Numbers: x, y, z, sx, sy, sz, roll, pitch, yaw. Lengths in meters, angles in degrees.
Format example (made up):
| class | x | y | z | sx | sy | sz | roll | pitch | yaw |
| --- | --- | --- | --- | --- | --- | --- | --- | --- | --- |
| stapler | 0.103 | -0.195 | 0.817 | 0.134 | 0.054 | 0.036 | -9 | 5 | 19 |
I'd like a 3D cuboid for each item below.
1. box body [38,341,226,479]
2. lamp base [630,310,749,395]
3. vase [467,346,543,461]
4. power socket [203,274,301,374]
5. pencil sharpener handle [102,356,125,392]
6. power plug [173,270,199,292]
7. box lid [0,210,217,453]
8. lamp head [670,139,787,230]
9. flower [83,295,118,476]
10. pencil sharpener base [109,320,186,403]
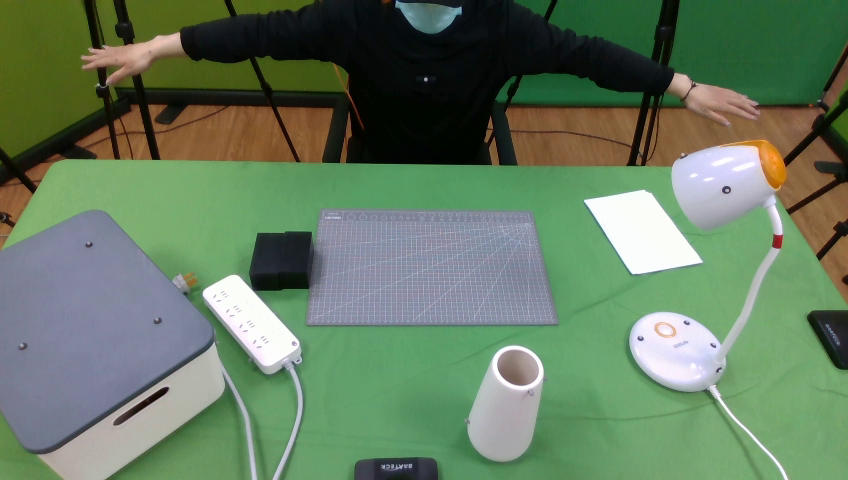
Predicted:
| class | x | y | z | sx | sy | sz | roll | pitch | yaw |
| --- | --- | --- | --- | --- | --- | --- | --- | --- | --- |
| box body | -0.504 | 0.154 | 0.917 | 0.362 | 0.161 | 0.254 | 36 | 54 | 27 |
| lamp base | 0.447 | 0.142 | 0.984 | 0.161 | 0.181 | 0.178 | -24 | 55 | -24 |
| vase | 0.116 | 0.234 | 0.861 | 0.098 | 0.201 | 0.097 | 1 | 47 | -1 |
| power socket | -0.296 | 0.140 | 1.035 | 0.072 | 0.033 | 0.225 | -32 | 57 | -29 |
| pencil sharpener handle | -0.460 | 0.200 | 0.887 | 0.030 | 0.068 | 0.036 | -30 | 61 | -27 |
| power plug | -0.420 | 0.090 | 1.084 | 0.052 | 0.035 | 0.072 | -31 | 86 | -18 |
| box lid | -0.501 | 0.102 | 0.865 | 0.369 | 0.015 | 0.263 | 36 | 54 | 27 |
| lamp head | 0.415 | -0.079 | 0.812 | 0.113 | 0.123 | 0.112 | 12 | 70 | -37 |
| flower | -0.513 | 0.210 | 0.960 | 0.044 | 0.038 | 0.359 | 5 | 35 | -32 |
| pencil sharpener base | -0.419 | 0.187 | 0.919 | 0.077 | 0.107 | 0.061 | -30 | 54 | -27 |
